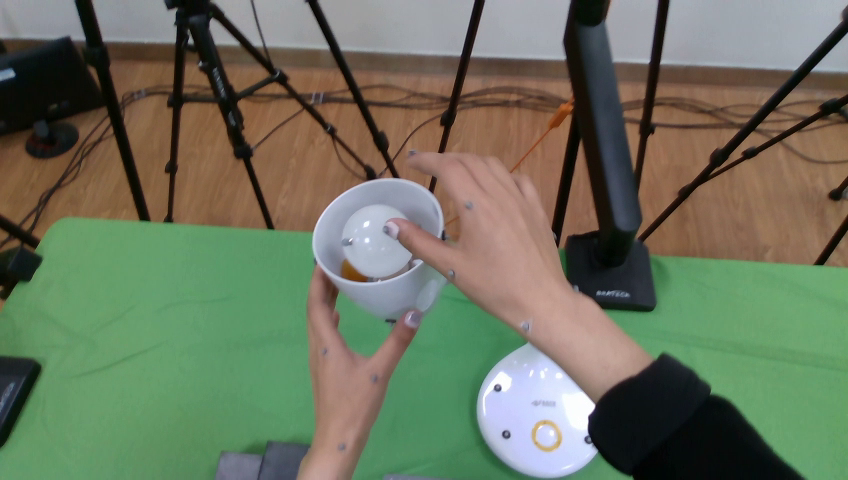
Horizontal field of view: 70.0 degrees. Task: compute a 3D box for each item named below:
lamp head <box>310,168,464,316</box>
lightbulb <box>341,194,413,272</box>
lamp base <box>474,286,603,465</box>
[{"bbox_3d":[-0.025,0.013,0.540,0.112,0.124,0.111,-9,54,14],"label":"lamp head"},{"bbox_3d":[-0.034,0.004,0.518,0.059,0.109,0.059,-5,59,9],"label":"lightbulb"},{"bbox_3d":[0.140,0.148,0.708,0.161,0.182,0.177,-8,53,-4],"label":"lamp base"}]
